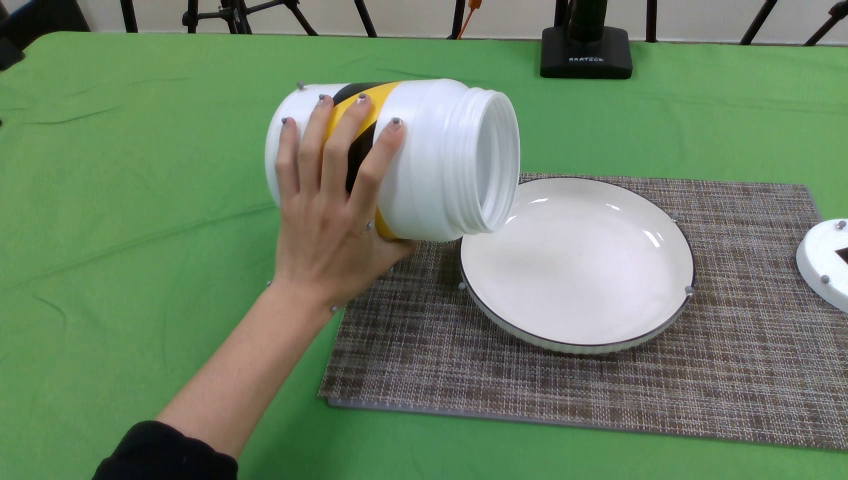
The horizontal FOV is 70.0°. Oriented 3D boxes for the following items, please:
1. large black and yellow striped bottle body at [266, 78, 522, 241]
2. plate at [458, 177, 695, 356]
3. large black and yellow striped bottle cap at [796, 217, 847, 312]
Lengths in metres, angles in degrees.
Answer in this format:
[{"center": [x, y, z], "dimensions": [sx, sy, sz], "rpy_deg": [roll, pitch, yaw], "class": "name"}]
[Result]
[{"center": [-0.021, -0.067, 0.508], "dimensions": [0.183, 0.132, 0.130], "rpy_deg": [5, 46, 26], "class": "large black and yellow striped bottle body"}, {"center": [0.136, 0.022, 0.555], "dimensions": [0.207, 0.039, 0.205], "rpy_deg": [-2, 46, 2], "class": "plate"}, {"center": [0.402, 0.024, 0.548], "dimensions": [0.115, 0.019, 0.114], "rpy_deg": [0, 47, 0], "class": "large black and yellow striped bottle cap"}]
